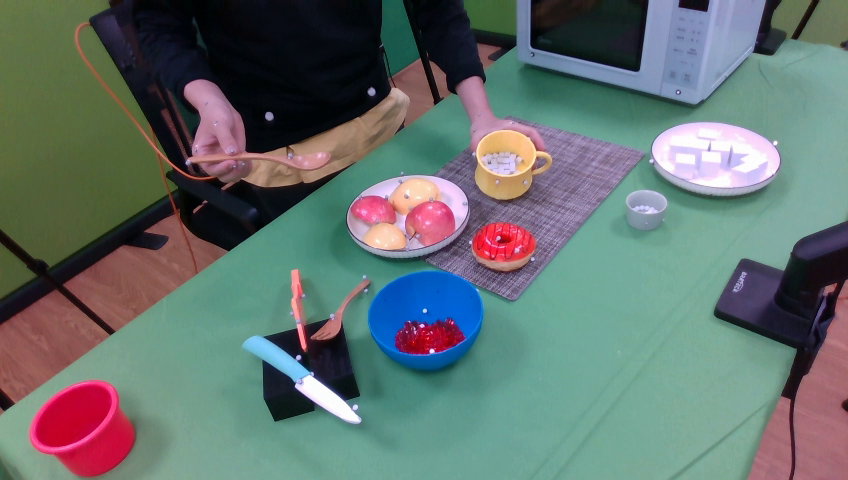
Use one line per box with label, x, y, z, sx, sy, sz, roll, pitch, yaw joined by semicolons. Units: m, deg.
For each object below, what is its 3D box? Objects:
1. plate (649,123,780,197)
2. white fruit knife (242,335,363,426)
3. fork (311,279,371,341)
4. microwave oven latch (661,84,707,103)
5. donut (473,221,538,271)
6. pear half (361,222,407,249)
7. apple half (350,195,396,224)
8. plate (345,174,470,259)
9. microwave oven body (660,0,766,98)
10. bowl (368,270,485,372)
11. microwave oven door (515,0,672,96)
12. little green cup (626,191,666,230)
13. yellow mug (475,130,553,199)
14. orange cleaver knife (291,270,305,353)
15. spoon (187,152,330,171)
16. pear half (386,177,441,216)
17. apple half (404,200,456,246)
plate;0.497;-0.135;1.046;0.207;0.039;0.206;-4;40;4
white fruit knife;-0.148;0.167;0.730;0.206;0.016;0.027;26;80;31
fork;-0.108;0.092;0.832;0.028;0.019;0.207;-6;19;15
microwave oven latch;0.517;-0.296;1.204;0.078;0.029;0.030;26;51;34
donut;0.123;0.008;0.923;0.099;0.048;0.098;-3;38;3
pear half;-0.063;-0.012;0.958;0.071;0.031;0.087;3;24;-25
apple half;-0.081;-0.056;1.008;0.081;0.033;0.081;11;24;-4
plate;-0.026;-0.037;1.004;0.209;0.038;0.208;-4;40;4
microwave oven body;0.472;-0.514;1.317;0.438;0.261;0.327;26;51;34
bowl;0.007;0.118;0.791;0.151;0.077;0.150;-5;40;4
microwave oven door;0.343;-0.455;1.259;0.353;0.245;0.039;26;51;33
little green cup;0.352;-0.046;0.963;0.061;0.039;0.061;-4;40;4
yellow mug;0.152;-0.129;1.020;0.131;0.064;0.099;-3;59;-2
orange cleaver knife;-0.175;0.094;0.844;0.012;0.077;0.210;-11;14;-10
spoon;-0.229;-0.113;0.844;0.194;0.022;0.041;1;44;-10
pear half;-0.029;-0.079;1.033;0.109;0.056;0.076;-3;35;16
apple half;0.010;-0.035;0.969;0.075;0.053;0.080;-27;40;-22
